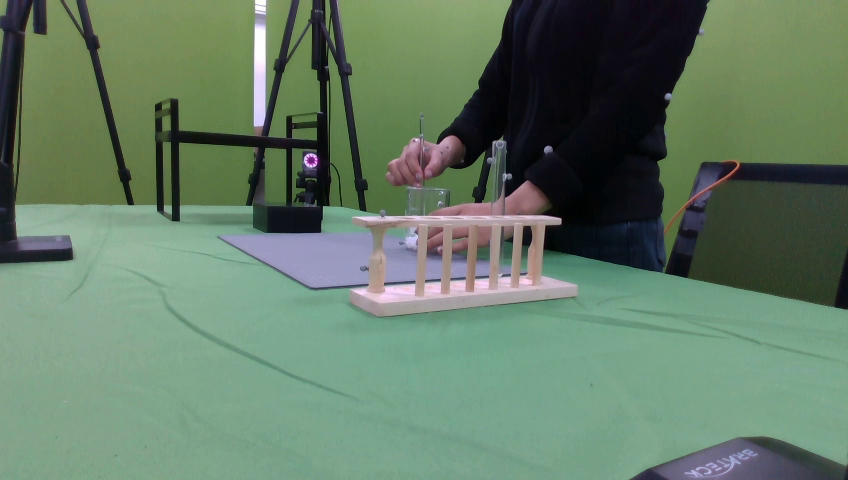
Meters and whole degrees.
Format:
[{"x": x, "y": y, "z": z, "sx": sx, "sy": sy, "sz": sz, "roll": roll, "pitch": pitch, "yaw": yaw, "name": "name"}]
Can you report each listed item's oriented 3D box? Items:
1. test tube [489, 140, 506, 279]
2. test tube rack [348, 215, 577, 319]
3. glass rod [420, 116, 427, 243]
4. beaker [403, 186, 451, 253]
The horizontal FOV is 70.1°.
[{"x": 0.079, "y": -0.032, "z": 0.653, "sx": 0.017, "sy": 0.150, "sz": 0.017, "roll": 1, "pitch": 2, "yaw": 0, "name": "test tube"}, {"x": 0.048, "y": 0.021, "z": 0.619, "sx": 0.244, "sy": 0.085, "sz": 0.066, "roll": -2, "pitch": 9, "yaw": -31, "name": "test tube rack"}, {"x": -0.001, "y": -0.092, "z": 0.947, "sx": 0.008, "sy": 0.199, "sz": 0.008, "roll": -2, "pitch": 9, "yaw": 1, "name": "glass rod"}, {"x": 0.006, "y": -0.034, "z": 0.953, "sx": 0.073, "sy": 0.100, "sz": 0.084, "roll": 9, "pitch": 9, "yaw": 39, "name": "beaker"}]
